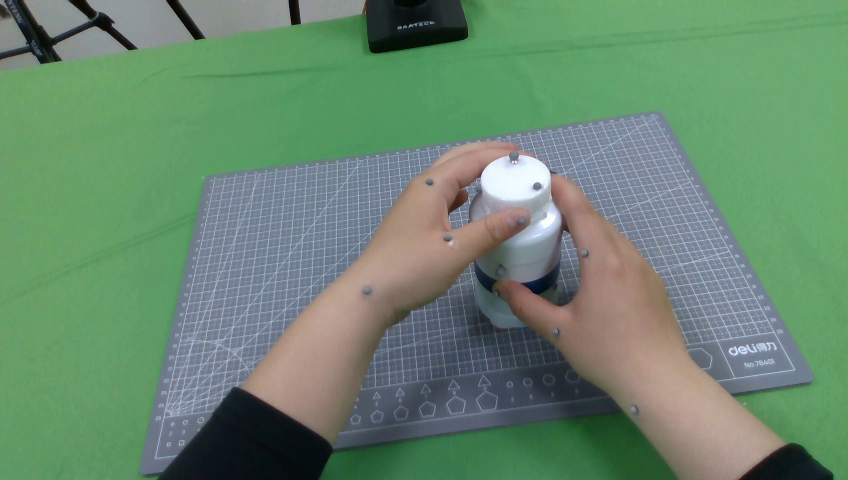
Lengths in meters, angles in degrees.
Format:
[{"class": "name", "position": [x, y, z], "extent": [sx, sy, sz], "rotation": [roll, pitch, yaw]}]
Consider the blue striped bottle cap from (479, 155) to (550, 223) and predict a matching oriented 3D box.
[{"class": "blue striped bottle cap", "position": [0.057, -0.033, 0.379], "extent": [0.044, 0.021, 0.044], "rotation": [-3, 47, 4]}]

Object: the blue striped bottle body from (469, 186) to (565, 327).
[{"class": "blue striped bottle body", "position": [0.064, 0.002, 0.419], "extent": [0.063, 0.122, 0.062], "rotation": [-4, 49, 5]}]
